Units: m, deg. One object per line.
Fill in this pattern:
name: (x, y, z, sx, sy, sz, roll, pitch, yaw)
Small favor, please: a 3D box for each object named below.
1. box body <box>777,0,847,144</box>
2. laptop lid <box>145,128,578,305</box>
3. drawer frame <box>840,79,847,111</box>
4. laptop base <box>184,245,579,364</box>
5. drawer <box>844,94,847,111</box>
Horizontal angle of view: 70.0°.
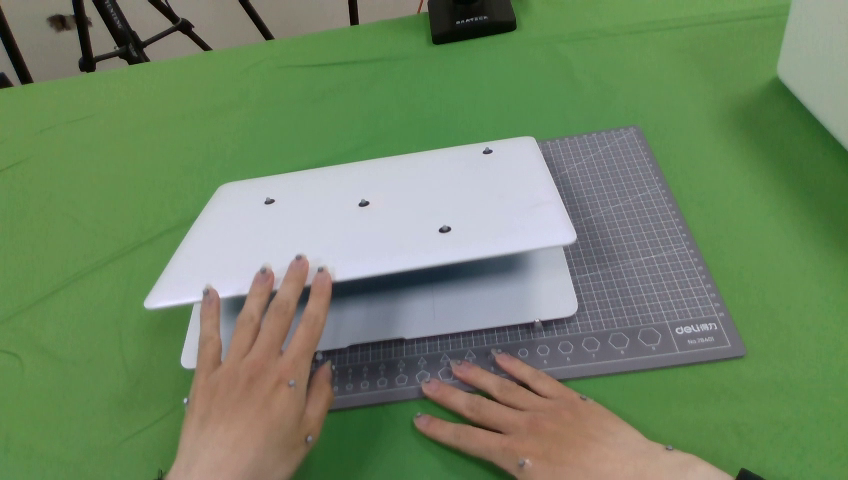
box body: (0.516, -0.148, 0.516, 0.254, 0.162, 0.360, -12, 47, 1)
laptop lid: (-0.055, -0.035, 0.568, 0.356, 0.013, 0.239, -8, 31, 6)
drawer frame: (0.517, -0.099, 0.514, 0.201, 0.083, 0.211, -8, 46, 3)
laptop base: (-0.046, 0.001, 0.600, 0.354, 0.023, 0.233, -8, 51, 4)
drawer: (0.516, -0.096, 0.517, 0.194, 0.074, 0.209, -10, 49, 6)
